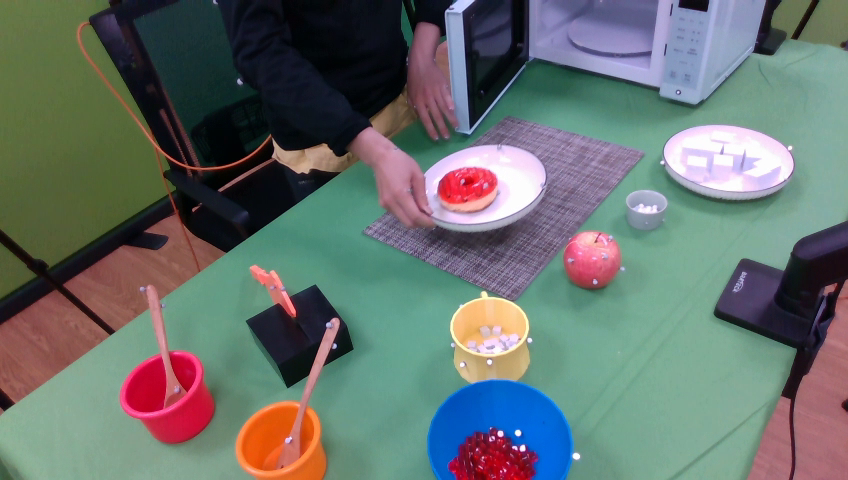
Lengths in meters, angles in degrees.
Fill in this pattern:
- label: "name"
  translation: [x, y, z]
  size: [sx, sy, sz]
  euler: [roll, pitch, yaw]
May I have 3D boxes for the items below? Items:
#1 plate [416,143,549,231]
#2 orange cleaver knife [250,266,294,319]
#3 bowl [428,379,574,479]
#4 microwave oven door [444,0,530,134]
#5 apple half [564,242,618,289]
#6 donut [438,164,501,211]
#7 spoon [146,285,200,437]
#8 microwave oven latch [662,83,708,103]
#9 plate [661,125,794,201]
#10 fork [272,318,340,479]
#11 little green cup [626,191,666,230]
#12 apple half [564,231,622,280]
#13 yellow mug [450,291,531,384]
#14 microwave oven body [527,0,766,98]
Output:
- label: "plate"
  translation: [0.092, -0.080, 0.949]
  size: [0.209, 0.038, 0.208]
  euler: [-9, 41, 8]
- label: "orange cleaver knife"
  translation: [-0.221, 0.073, 0.876]
  size: [0.012, 0.077, 0.210]
  euler: [-24, 12, -22]
- label: "bowl"
  translation: [0.082, 0.233, 0.644]
  size: [0.151, 0.077, 0.150]
  euler: [-4, 40, 4]
- label: "microwave oven door"
  translation: [0.140, -0.413, 1.242]
  size: [0.039, 0.245, 0.356]
  euler: [14, 45, 24]
- label: "apple half"
  translation: [0.229, 0.044, 0.848]
  size: [0.081, 0.081, 0.033]
  euler: [16, 41, 26]
- label: "donut"
  translation: [0.071, -0.083, 0.942]
  size: [0.099, 0.048, 0.098]
  euler: [-9, 40, 8]
- label: "spoon"
  translation: [-0.318, 0.148, 0.754]
  size: [0.042, 0.021, 0.193]
  euler: [-15, 85, -11]
- label: "microwave oven latch"
  translation: [0.517, -0.296, 1.204]
  size: [0.078, 0.029, 0.030]
  euler: [27, 52, 35]
- label: "plate"
  translation: [0.513, -0.128, 1.035]
  size: [0.207, 0.039, 0.206]
  euler: [-4, 40, 4]
- label: "fork"
  translation: [-0.131, 0.186, 0.676]
  size: [0.028, 0.019, 0.207]
  euler: [17, 90, 28]
- label: "little green cup"
  translation: [0.352, -0.046, 0.963]
  size: [0.061, 0.039, 0.061]
  euler: [-4, 40, 4]
- label: "apple half"
  translation: [0.248, 0.021, 0.874]
  size: [0.080, 0.075, 0.053]
  euler: [13, 40, 29]
- label: "yellow mug"
  translation: [0.085, 0.120, 0.786]
  size: [0.100, 0.064, 0.130]
  euler: [-7, 39, 1]
- label: "microwave oven body"
  translation: [0.472, -0.513, 1.317]
  size: [0.438, 0.261, 0.327]
  euler: [25, 51, 34]
